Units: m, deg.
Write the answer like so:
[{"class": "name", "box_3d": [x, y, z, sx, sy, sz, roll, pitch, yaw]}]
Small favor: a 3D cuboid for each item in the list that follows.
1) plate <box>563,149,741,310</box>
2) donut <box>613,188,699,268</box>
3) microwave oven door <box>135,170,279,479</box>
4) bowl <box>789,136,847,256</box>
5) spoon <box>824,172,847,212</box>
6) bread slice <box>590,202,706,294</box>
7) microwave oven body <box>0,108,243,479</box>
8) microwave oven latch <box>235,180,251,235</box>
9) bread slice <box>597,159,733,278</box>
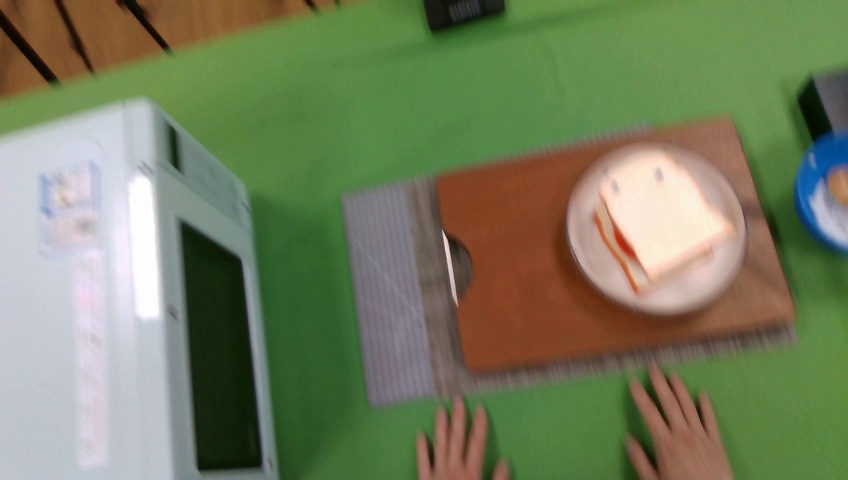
[{"class": "plate", "box_3d": [0.279, -0.012, 0.756, 0.207, 0.039, 0.206, -3, 72, 9]}, {"class": "donut", "box_3d": [0.276, -0.015, 0.726, 0.099, 0.048, 0.098, -1, 75, 3]}, {"class": "microwave oven door", "box_3d": [-0.250, 0.125, 0.708, 0.039, 0.245, 0.353, -14, 70, 6]}, {"class": "bowl", "box_3d": [0.514, -0.042, 0.732, 0.151, 0.077, 0.150, -3, 72, 10]}, {"class": "spoon", "box_3d": [0.518, -0.007, 0.688, 0.041, 0.022, 0.191, -12, 47, 3]}, {"class": "bread slice", "box_3d": [0.272, -0.010, 0.759, 0.105, 0.019, 0.130, -28, 72, -2]}, {"class": "microwave oven body", "box_3d": [-0.398, 0.122, 0.740, 0.326, 0.262, 0.438, -13, 71, 5]}, {"class": "microwave oven latch", "box_3d": [-0.271, -0.044, 0.876, 0.030, 0.030, 0.078, -13, 71, 5]}, {"class": "bread slice", "box_3d": [0.266, -0.030, 0.701, 0.107, 0.018, 0.133, -32, 63, 0]}]
